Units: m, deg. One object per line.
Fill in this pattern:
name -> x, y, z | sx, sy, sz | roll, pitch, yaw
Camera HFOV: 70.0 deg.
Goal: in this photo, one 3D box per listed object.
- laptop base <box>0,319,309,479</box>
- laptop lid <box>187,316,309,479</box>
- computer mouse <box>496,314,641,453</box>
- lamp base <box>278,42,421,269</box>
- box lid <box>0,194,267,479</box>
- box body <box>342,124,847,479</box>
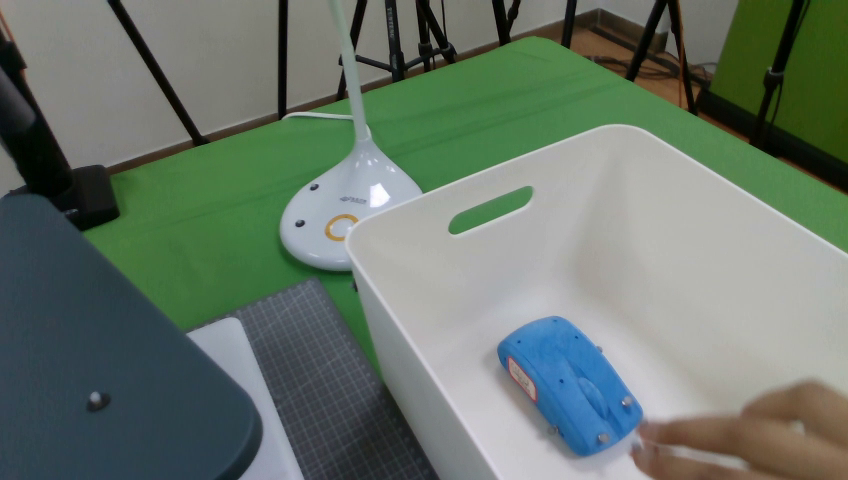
laptop base -> -0.266, 0.203, 0.421 | 0.355, 0.023, 0.233 | -23, 48, -18
laptop lid -> -0.266, 0.196, 0.412 | 0.357, 0.013, 0.239 | -22, 46, -17
computer mouse -> 0.110, 0.104, 0.467 | 0.063, 0.041, 0.116 | -22, 49, -21
lamp base -> -0.083, -0.092, 0.610 | 0.160, 0.182, 0.177 | 0, 40, 7
box lid -> -0.281, 0.081, 0.312 | 0.368, 0.015, 0.263 | 26, 45, 38
box body -> 0.139, 0.104, 0.381 | 0.254, 0.162, 0.360 | -23, 44, -19
